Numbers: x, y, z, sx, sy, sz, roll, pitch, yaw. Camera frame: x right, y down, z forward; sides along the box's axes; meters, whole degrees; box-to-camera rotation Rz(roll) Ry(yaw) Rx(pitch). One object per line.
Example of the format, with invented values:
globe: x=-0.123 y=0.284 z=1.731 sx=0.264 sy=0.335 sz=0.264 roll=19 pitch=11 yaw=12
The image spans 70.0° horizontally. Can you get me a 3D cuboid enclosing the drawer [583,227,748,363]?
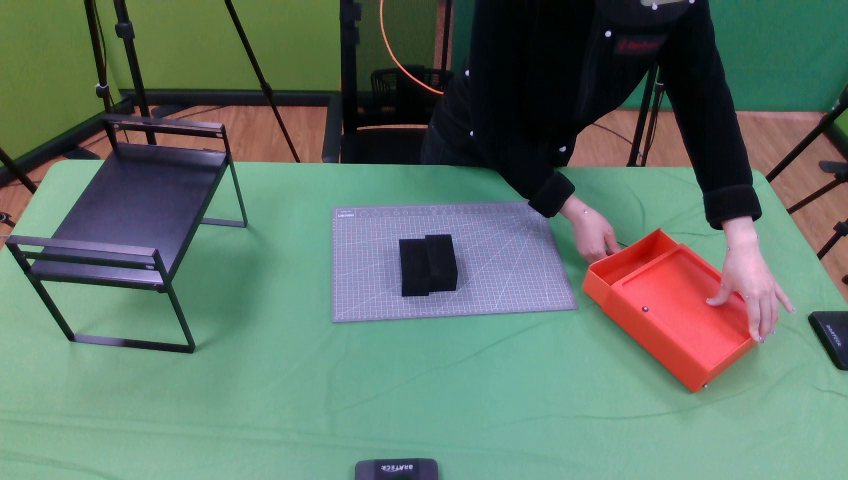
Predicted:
drawer: x=0.432 y=0.095 z=1.097 sx=0.194 sy=0.073 sz=0.210 roll=-24 pitch=54 yaw=-26

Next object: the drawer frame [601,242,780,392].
drawer frame: x=0.462 y=0.125 z=1.065 sx=0.202 sy=0.083 sz=0.212 roll=-26 pitch=54 yaw=-26

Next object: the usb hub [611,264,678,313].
usb hub: x=0.410 y=0.090 z=1.124 sx=0.125 sy=0.025 sz=0.049 roll=-24 pitch=51 yaw=-25
